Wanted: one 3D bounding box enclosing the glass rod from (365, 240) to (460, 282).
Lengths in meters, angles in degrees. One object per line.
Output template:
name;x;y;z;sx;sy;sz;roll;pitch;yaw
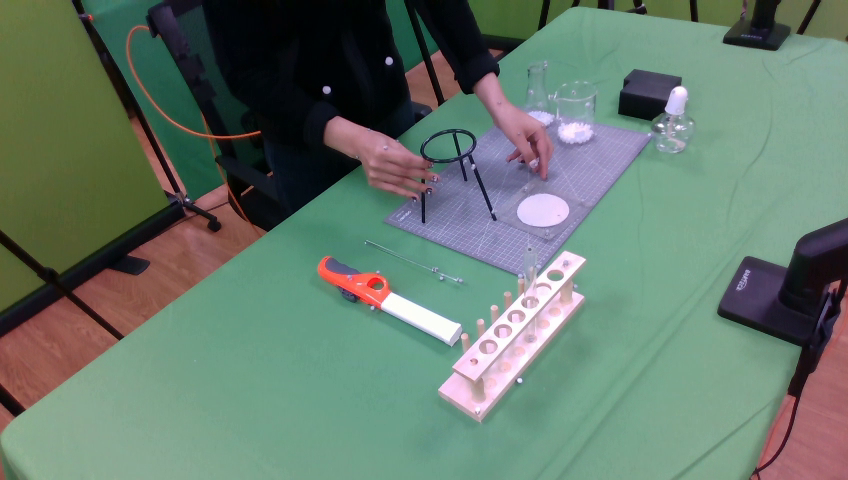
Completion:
glass rod;-0.022;0.032;0.962;0.198;0.008;0.008;21;49;35

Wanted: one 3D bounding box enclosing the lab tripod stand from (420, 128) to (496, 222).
lab tripod stand;0.050;-0.105;0.983;0.148;0.132;0.147;-9;41;9

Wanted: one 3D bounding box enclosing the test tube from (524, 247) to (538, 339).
test tube;0.133;0.070;0.749;0.017;0.151;0.017;-5;38;4

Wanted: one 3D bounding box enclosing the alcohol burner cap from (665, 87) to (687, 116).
alcohol burner cap;0.445;-0.244;1.060;0.034;0.048;0.033;-2;45;3

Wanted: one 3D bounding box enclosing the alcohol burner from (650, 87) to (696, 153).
alcohol burner;0.448;-0.218;1.084;0.078;0.119;0.077;-6;38;5

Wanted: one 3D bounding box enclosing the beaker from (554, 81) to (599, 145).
beaker;0.286;-0.237;1.144;0.084;0.101;0.073;-17;40;-7

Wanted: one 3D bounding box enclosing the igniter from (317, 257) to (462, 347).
igniter;-0.061;0.086;0.891;0.274;0.025;0.057;23;59;33

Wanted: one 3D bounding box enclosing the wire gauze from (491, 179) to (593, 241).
wire gauze;0.198;-0.051;1.014;0.125;0.011;0.120;-38;48;-27

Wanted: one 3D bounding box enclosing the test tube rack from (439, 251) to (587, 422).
test tube rack;0.118;0.111;0.780;0.066;0.085;0.243;26;51;35

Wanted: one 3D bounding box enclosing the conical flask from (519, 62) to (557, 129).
conical flask;0.225;-0.288;1.198;0.075;0.122;0.075;-6;40;5
